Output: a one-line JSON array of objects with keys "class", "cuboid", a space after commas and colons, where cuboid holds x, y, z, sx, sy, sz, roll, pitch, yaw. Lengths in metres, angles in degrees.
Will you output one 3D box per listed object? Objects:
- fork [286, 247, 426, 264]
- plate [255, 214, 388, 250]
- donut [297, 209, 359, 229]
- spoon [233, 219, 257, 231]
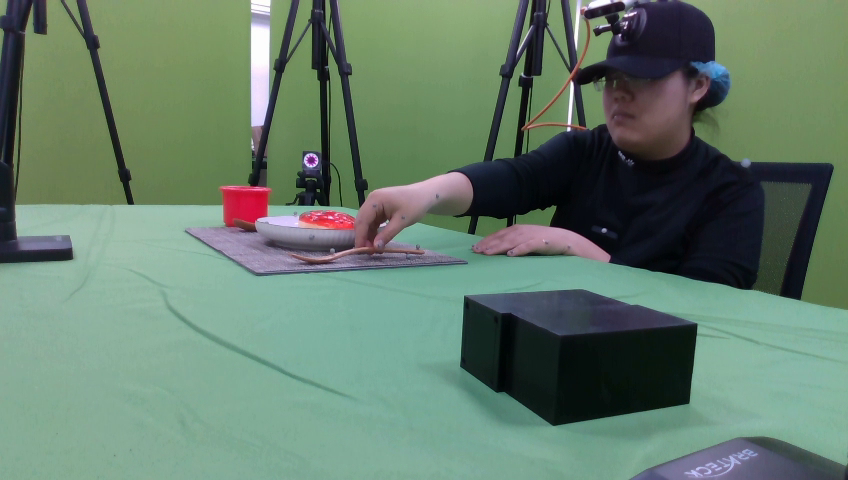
[{"class": "fork", "cuboid": [-0.084, 0.019, 0.813, 0.208, 0.018, 0.028, -5, 3, -34]}, {"class": "plate", "cuboid": [-0.161, -0.013, 0.961, 0.209, 0.038, 0.209, 2, 7, 0]}, {"class": "donut", "cuboid": [-0.151, -0.023, 0.955, 0.099, 0.048, 0.099, 5, 7, 0]}, {"class": "spoon", "cuboid": [-0.250, -0.028, 1.108, 0.195, 0.021, 0.041, -2, -9, -29]}]
